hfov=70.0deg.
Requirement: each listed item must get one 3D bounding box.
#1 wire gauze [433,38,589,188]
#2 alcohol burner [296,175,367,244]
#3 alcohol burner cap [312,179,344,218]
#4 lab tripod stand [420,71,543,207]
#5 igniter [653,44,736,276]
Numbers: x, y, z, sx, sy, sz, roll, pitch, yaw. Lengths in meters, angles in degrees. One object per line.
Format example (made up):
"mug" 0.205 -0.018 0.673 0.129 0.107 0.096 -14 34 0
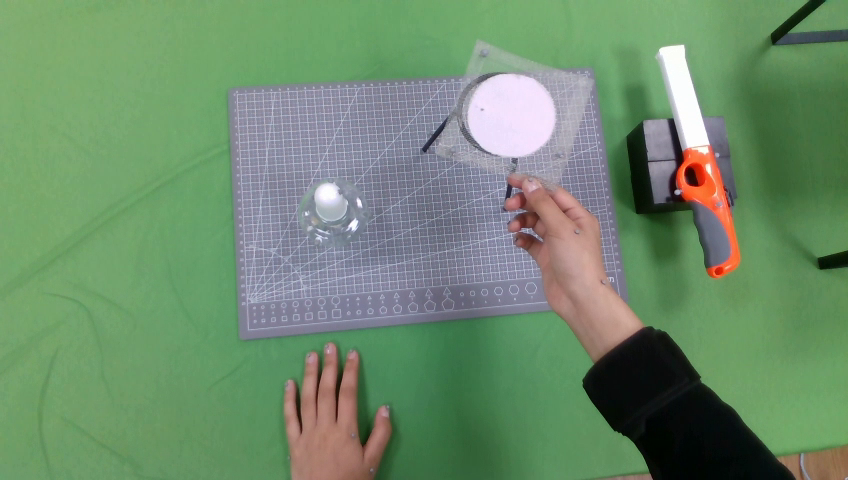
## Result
"wire gauze" 0.085 -0.122 0.580 0.121 0.011 0.124 20 79 1
"alcohol burner" -0.101 -0.037 0.651 0.078 0.119 0.077 1 81 -4
"alcohol burner cap" -0.099 -0.045 0.616 0.034 0.048 0.033 1 72 -4
"lab tripod stand" 0.073 -0.121 0.670 0.148 0.132 0.147 1 78 -4
"igniter" 0.309 -0.095 0.694 0.057 0.025 0.275 -8 78 -3
